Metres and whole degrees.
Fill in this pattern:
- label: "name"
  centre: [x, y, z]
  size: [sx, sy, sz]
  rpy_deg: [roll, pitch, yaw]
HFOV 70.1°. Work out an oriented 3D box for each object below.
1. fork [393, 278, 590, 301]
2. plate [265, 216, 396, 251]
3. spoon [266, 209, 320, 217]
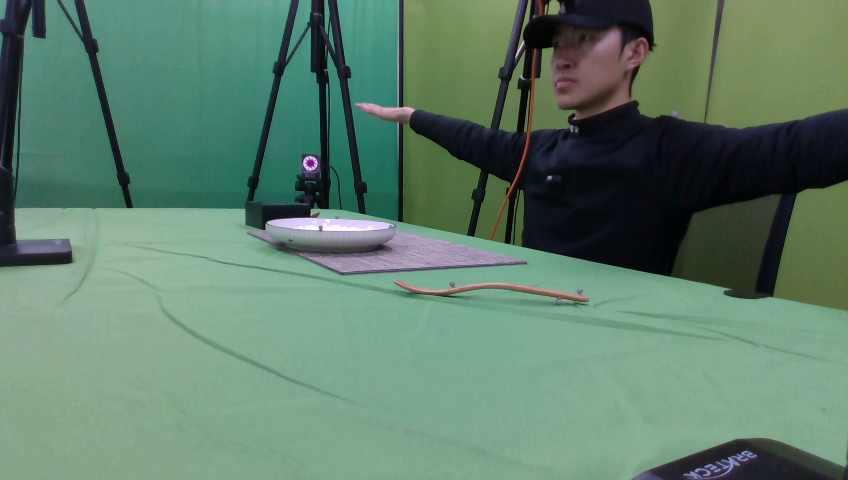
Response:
- label: "fork"
  centre: [0.070, 0.052, 0.640]
  size: [0.207, 0.018, 0.028]
  rpy_deg: [1, -3, 5]
- label: "plate"
  centre: [-0.150, -0.011, 0.978]
  size: [0.209, 0.038, 0.209]
  rpy_deg: [3, 7, 0]
- label: "spoon"
  centre: [-0.315, -0.064, 1.434]
  size: [0.193, 0.021, 0.042]
  rpy_deg: [8, 25, 39]
